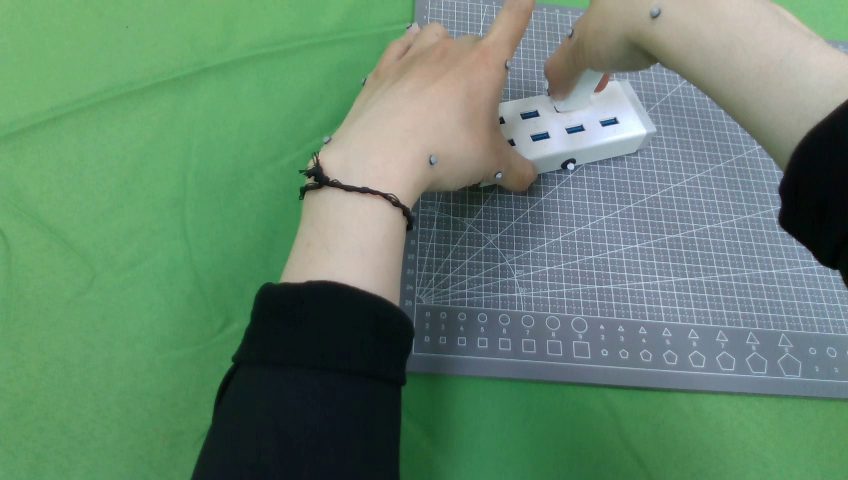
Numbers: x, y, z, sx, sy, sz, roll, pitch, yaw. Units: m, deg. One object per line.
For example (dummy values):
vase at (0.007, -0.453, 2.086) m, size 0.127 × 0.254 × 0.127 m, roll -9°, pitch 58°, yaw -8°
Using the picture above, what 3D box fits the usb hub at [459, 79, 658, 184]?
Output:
usb hub at (0.090, -0.075, 0.406) m, size 0.125 × 0.025 × 0.049 m, roll -13°, pitch 66°, yaw -14°

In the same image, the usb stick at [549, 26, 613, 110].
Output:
usb stick at (0.097, -0.104, 0.386) m, size 0.021 × 0.059 × 0.027 m, roll -17°, pitch 63°, yaw -14°
